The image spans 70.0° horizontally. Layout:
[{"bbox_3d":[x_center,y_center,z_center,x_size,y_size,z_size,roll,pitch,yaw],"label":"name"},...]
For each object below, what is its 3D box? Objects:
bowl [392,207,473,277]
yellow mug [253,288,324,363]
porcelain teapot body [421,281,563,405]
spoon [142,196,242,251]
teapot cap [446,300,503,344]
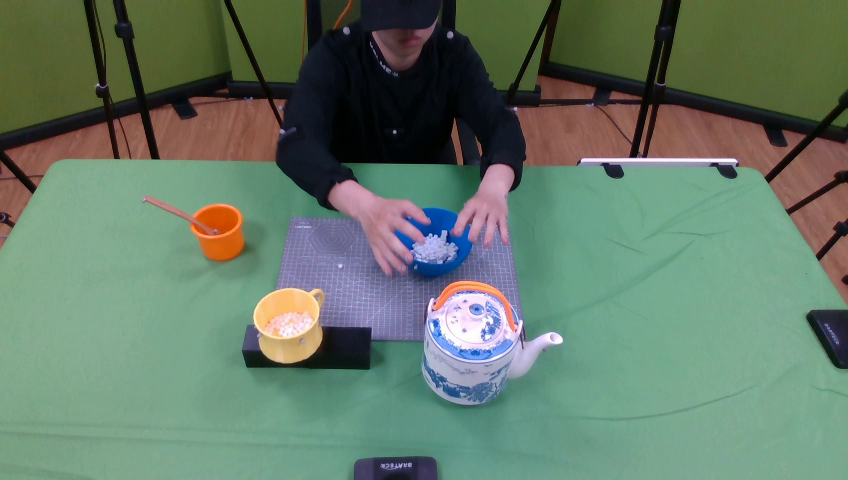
[{"bbox_3d":[0.014,0.016,1.140,0.151,0.077,0.150,2,47,-2],"label":"bowl"},{"bbox_3d":[-0.205,0.124,0.963,0.099,0.064,0.130,27,48,21],"label":"yellow mug"},{"bbox_3d":[0.101,0.148,0.923,0.205,0.226,0.144,12,47,7],"label":"porcelain teapot body"},{"bbox_3d":[-0.421,-0.032,1.108,0.021,0.195,0.041,-32,40,28],"label":"spoon"},{"bbox_3d":[0.076,0.115,0.898,0.085,0.044,0.084,4,45,-4],"label":"teapot cap"}]
